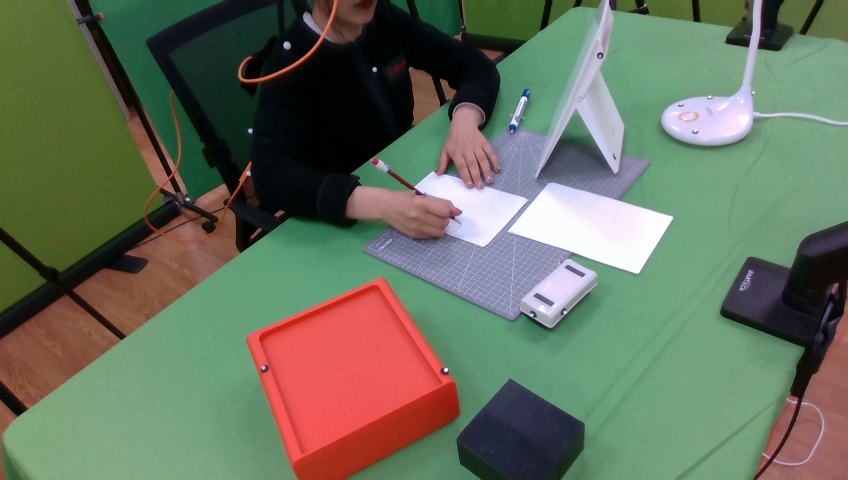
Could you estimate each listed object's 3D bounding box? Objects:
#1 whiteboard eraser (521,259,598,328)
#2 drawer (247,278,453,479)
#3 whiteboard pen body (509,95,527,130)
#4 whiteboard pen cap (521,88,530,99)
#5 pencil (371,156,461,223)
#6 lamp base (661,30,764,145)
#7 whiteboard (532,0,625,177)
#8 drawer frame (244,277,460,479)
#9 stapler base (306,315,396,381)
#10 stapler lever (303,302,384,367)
[{"bbox_3d":[0.189,0.076,0.843,0.055,0.042,0.113,29,53,37],"label":"whiteboard eraser"},{"bbox_3d":[-0.096,0.167,0.758,0.195,0.073,0.210,-22,43,-16],"label":"drawer"},{"bbox_3d":[0.199,-0.273,1.261,0.017,0.017,0.140,8,44,19],"label":"whiteboard pen body"},{"bbox_3d":[0.218,-0.312,1.301,0.018,0.018,0.033,6,46,17],"label":"whiteboard pen cap"},{"bbox_3d":[-0.009,-0.077,0.967,0.012,0.195,0.012,-36,35,31],"label":"pencil"},{"bbox_3d":[0.535,-0.287,1.096,0.179,0.181,0.159,-10,40,-4],"label":"lamp base"},{"bbox_3d":[0.321,-0.258,1.050,0.144,0.306,0.217,21,45,5],"label":"whiteboard"},{"bbox_3d":[-0.093,0.167,0.755,0.202,0.083,0.211,-23,43,-17],"label":"drawer frame"},{"bbox_3d":[-0.101,0.138,0.819,0.131,0.024,0.041,-31,37,-13],"label":"stapler base"},{"bbox_3d":[-0.108,0.123,0.805,0.118,0.040,0.026,-27,36,-15],"label":"stapler lever"}]
